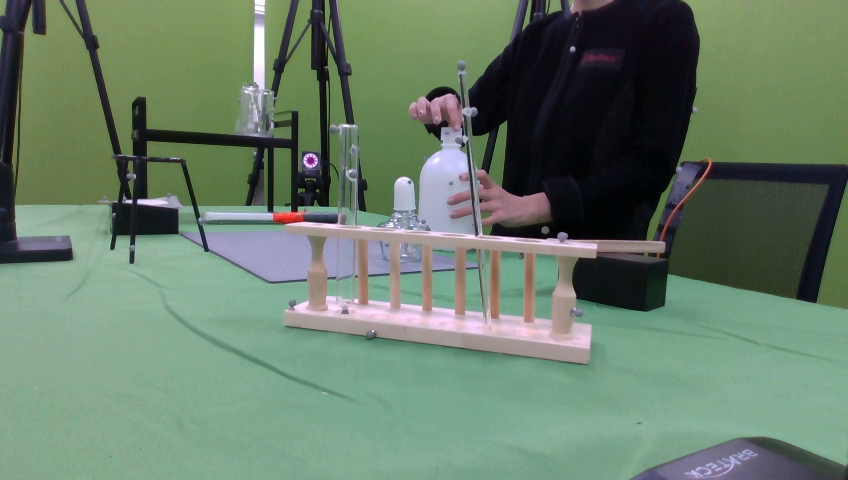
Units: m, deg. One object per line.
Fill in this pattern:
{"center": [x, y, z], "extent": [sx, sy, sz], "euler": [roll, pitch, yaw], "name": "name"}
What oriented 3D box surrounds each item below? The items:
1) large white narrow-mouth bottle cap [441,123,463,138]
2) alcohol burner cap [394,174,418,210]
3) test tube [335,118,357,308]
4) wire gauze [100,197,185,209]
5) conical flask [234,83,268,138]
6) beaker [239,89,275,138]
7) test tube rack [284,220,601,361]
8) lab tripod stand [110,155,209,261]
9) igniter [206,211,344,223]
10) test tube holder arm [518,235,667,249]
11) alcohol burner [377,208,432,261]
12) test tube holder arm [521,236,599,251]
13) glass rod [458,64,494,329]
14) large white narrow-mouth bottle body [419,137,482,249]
{"center": [0.046, -0.177, 0.983], "extent": [0.038, 0.024, 0.037], "euler": [2, 8, 0], "name": "large white narrow-mouth bottle cap"}
{"center": [-0.026, -0.067, 0.833], "extent": [0.034, 0.048, 0.034], "euler": [-1, 12, 1], "name": "alcohol burner cap"}
{"center": [-0.061, -0.019, 0.476], "extent": [0.017, 0.150, 0.017], "euler": [2, 10, 0], "name": "test tube"}
{"center": [-0.469, -0.062, 1.008], "extent": [0.126, 0.011, 0.121], "euler": [-2, 8, -25], "name": "wire gauze"}
{"center": [-0.399, -0.298, 1.396], "extent": [0.075, 0.122, 0.075], "euler": [2, 8, 0], "name": "conical flask"}
{"center": [-0.361, -0.273, 1.307], "extent": [0.074, 0.100, 0.084], "euler": [0, 8, -11], "name": "beaker"}
{"center": [0.013, 0.032, 0.482], "extent": [0.242, 0.085, 0.067], "euler": [4, 7, 16], "name": "test tube rack"}
{"center": [-0.361, -0.046, 0.806], "extent": [0.148, 0.131, 0.148], "euler": [2, 5, 0], "name": "lab tripod stand"}
{"center": [-0.302, -0.048, 1.249], "extent": [0.278, 0.025, 0.057], "euler": [-2, -2, -27], "name": "igniter"}
{"center": [0.186, 0.003, 0.654], "extent": [0.179, 0.015, 0.013], "euler": [0, 13, -18], "name": "test tube holder arm"}
{"center": [-0.027, -0.031, 0.838], "extent": [0.078, 0.119, 0.078], "euler": [0, 6, 0], "name": "alcohol burner"}
{"center": [0.144, 0.004, 0.635], "extent": [0.088, 0.015, 0.010], "euler": [0, 13, -19], "name": "test tube holder arm"}
{"center": [0.039, -0.029, 0.449], "extent": [0.008, 0.199, 0.008], "euler": [-7, 9, 1], "name": "glass rod"}
{"center": [0.044, -0.086, 0.995], "extent": [0.102, 0.194, 0.102], "euler": [2, 8, 0], "name": "large white narrow-mouth bottle body"}
